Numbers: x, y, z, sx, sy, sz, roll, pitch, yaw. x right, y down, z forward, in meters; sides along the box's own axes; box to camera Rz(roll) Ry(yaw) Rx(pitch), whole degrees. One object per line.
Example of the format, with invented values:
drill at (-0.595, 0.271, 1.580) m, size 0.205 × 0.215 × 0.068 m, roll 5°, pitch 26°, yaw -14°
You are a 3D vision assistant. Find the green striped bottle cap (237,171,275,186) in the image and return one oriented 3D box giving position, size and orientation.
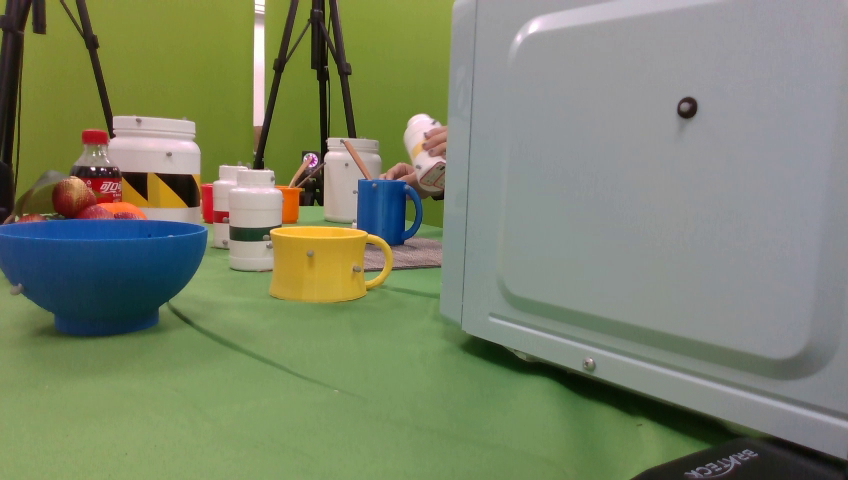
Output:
green striped bottle cap at (-0.205, -0.075, 0.738) m, size 0.044 × 0.020 × 0.044 m, roll 1°, pitch 7°, yaw 0°

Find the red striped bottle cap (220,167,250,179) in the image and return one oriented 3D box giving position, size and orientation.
red striped bottle cap at (-0.281, -0.100, 0.901) m, size 0.044 × 0.017 × 0.044 m, roll -1°, pitch 5°, yaw 0°

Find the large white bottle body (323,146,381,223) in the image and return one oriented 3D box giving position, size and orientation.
large white bottle body at (-0.163, -0.135, 1.368) m, size 0.131 × 0.184 × 0.130 m, roll 2°, pitch 7°, yaw 0°

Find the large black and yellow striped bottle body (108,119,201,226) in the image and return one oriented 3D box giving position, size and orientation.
large black and yellow striped bottle body at (-0.412, -0.088, 0.930) m, size 0.131 × 0.184 × 0.130 m, roll 3°, pitch 7°, yaw 0°

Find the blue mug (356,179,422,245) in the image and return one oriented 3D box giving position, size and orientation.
blue mug at (-0.057, -0.047, 1.007) m, size 0.116 × 0.106 × 0.082 m, roll 5°, pitch 8°, yaw 20°

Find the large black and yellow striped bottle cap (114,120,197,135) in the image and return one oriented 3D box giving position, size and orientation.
large black and yellow striped bottle cap at (-0.407, -0.171, 0.920) m, size 0.115 × 0.019 × 0.115 m, roll 2°, pitch 9°, yaw 0°

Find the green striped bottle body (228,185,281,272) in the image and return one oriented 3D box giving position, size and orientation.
green striped bottle body at (-0.208, -0.023, 0.745) m, size 0.063 × 0.119 × 0.063 m, roll 2°, pitch 7°, yaw 0°

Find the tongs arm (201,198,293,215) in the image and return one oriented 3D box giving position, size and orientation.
tongs arm at (-0.423, -0.084, 1.472) m, size 0.050 × 0.026 × 0.386 m, roll 2°, pitch 6°, yaw 21°

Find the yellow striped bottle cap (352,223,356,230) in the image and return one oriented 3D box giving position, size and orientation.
yellow striped bottle cap at (-0.115, -0.022, 1.144) m, size 0.044 × 0.018 × 0.044 m, roll 2°, pitch 8°, yaw 0°

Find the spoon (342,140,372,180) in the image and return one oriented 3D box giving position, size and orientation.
spoon at (-0.093, -0.094, 1.024) m, size 0.042 × 0.193 × 0.021 m, roll -8°, pitch -23°, yaw -50°

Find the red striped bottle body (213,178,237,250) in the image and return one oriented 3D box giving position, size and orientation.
red striped bottle body at (-0.284, -0.048, 0.909) m, size 0.063 × 0.119 × 0.063 m, roll 3°, pitch 10°, yaw 0°

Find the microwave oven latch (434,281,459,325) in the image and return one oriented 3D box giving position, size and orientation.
microwave oven latch at (0.044, 0.045, 0.470) m, size 0.079 × 0.029 × 0.030 m, roll -2°, pitch 8°, yaw -39°

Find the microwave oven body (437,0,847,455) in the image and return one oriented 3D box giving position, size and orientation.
microwave oven body at (0.279, -0.040, 0.464) m, size 0.444 × 0.260 × 0.324 m, roll -3°, pitch 9°, yaw -41°

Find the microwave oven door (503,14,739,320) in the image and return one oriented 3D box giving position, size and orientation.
microwave oven door at (0.217, -0.065, 0.601) m, size 0.358 × 0.243 × 0.039 m, roll -4°, pitch 10°, yaw -41°

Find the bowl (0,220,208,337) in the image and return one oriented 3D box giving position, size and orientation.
bowl at (-0.251, 0.029, 0.479) m, size 0.151 × 0.077 × 0.151 m, roll 2°, pitch 7°, yaw 0°

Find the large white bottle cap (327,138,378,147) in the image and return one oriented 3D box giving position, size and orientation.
large white bottle cap at (-0.160, -0.218, 1.357) m, size 0.115 × 0.018 × 0.115 m, roll 2°, pitch 8°, yaw 0°

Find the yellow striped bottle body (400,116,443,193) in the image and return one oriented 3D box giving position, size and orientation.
yellow striped bottle body at (0.003, -0.135, 0.914) m, size 0.063 × 0.062 × 0.120 m, roll -1°, pitch 51°, yaw -26°

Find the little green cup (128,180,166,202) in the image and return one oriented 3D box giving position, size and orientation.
little green cup at (-0.485, -0.087, 1.062) m, size 0.061 × 0.038 × 0.061 m, roll -1°, pitch 6°, yaw 0°

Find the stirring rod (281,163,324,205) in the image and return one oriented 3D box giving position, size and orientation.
stirring rod at (-0.278, -0.105, 1.293) m, size 0.176 × 0.006 × 0.014 m, roll -47°, pitch 24°, yaw -18°

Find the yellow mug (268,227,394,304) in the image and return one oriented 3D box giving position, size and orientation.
yellow mug at (-0.094, 0.023, 0.630) m, size 0.131 × 0.064 × 0.099 m, roll 0°, pitch 7°, yaw -22°

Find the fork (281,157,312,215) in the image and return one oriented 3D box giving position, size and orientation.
fork at (-0.289, -0.116, 1.321) m, size 0.028 × 0.019 × 0.207 m, roll 6°, pitch 51°, yaw 19°

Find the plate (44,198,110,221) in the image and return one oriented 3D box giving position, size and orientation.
plate at (-0.617, -0.056, 1.179) m, size 0.209 × 0.038 × 0.209 m, roll 3°, pitch 7°, yaw 0°

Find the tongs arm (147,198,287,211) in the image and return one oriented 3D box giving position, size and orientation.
tongs arm at (-0.504, -0.091, 1.513) m, size 0.028 × 0.028 × 0.389 m, roll 0°, pitch 4°, yaw 37°
